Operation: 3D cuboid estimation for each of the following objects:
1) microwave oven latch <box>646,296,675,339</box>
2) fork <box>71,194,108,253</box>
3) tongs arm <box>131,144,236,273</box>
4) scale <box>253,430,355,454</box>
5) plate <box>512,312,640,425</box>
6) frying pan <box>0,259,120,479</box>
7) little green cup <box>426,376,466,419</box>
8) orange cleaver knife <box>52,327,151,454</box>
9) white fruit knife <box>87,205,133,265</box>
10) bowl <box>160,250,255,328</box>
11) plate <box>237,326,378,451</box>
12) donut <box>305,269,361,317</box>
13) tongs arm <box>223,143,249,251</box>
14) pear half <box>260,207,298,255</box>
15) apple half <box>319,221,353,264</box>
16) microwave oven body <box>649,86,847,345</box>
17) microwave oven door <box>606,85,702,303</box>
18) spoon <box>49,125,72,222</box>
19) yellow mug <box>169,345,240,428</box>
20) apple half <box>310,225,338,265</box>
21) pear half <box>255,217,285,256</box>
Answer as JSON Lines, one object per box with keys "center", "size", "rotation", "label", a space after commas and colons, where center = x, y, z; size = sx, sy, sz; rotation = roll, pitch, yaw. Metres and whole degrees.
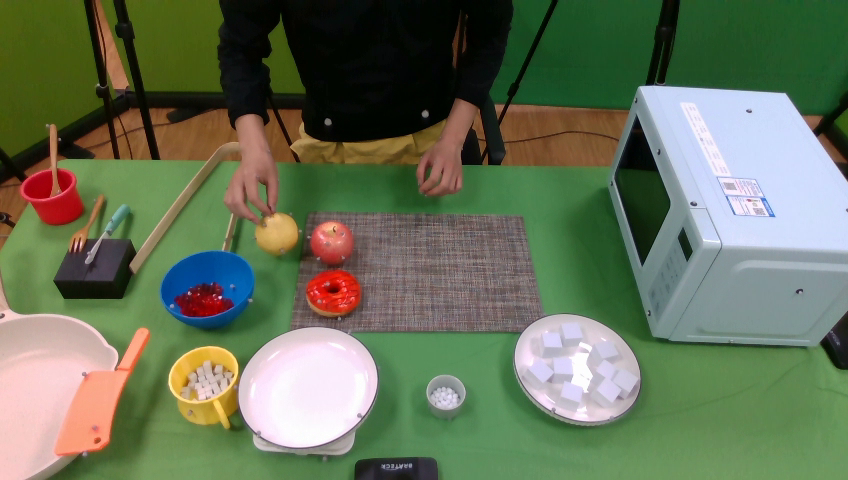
{"center": [0.412, 0.134, 1.061], "size": [0.030, 0.029, 0.078], "rotation": [4, 45, 1], "label": "microwave oven latch"}
{"center": [-0.634, -0.036, 1.158], "size": [0.028, 0.019, 0.206], "rotation": [-8, 31, -8], "label": "fork"}
{"center": [-0.482, -0.078, 1.235], "size": [0.028, 0.028, 0.385], "rotation": [6, 45, 13], "label": "tongs arm"}
{"center": [-0.175, 0.236, 0.951], "size": [0.149, 0.032, 0.199], "rotation": [4, 45, 0], "label": "scale"}
{"center": [0.246, 0.213, 0.999], "size": [0.208, 0.039, 0.206], "rotation": [2, 46, -2], "label": "plate"}
{"center": [-0.647, 0.164, 0.936], "size": [0.307, 0.103, 0.485], "rotation": [-19, 58, -22], "label": "frying pan"}
{"center": [0.033, 0.248, 0.950], "size": [0.061, 0.039, 0.061], "rotation": [2, 46, -2], "label": "little green cup"}
{"center": [-0.462, 0.212, 0.879], "size": [0.077, 0.012, 0.210], "rotation": [6, 45, -1], "label": "orange cleaver knife"}
{"center": [-0.584, -0.013, 1.129], "size": [0.016, 0.027, 0.206], "rotation": [-1, 32, -4], "label": "white fruit knife"}
{"center": [-0.362, 0.098, 1.040], "size": [0.151, 0.077, 0.150], "rotation": [2, 45, -2], "label": "bowl"}
{"center": [-0.174, 0.224, 0.917], "size": [0.209, 0.038, 0.208], "rotation": [2, 46, -2], "label": "plate"}
{"center": [-0.160, 0.094, 1.075], "size": [0.099, 0.048, 0.098], "rotation": [3, 46, -3], "label": "donut"}
{"center": [-0.397, -0.073, 1.232], "size": [0.051, 0.027, 0.382], "rotation": [-2, 45, 0], "label": "tongs arm"}
{"center": [-0.263, -0.029, 1.109], "size": [0.076, 0.110, 0.056], "rotation": [31, 57, 20], "label": "pear half"}
{"center": [-0.162, 0.001, 1.144], "size": [0.053, 0.075, 0.080], "rotation": [-25, 50, -29], "label": "apple half"}
{"center": [0.567, -0.053, 1.118], "size": [0.326, 0.261, 0.439], "rotation": [2, 45, -1], "label": "microwave oven body"}
{"center": [0.423, -0.094, 1.140], "size": [0.039, 0.245, 0.353], "rotation": [2, 46, -1], "label": "microwave oven door"}
{"center": [-0.718, -0.131, 1.189], "size": [0.041, 0.021, 0.193], "rotation": [-4, 90, -6], "label": "spoon"}
{"center": [-0.322, 0.230, 0.922], "size": [0.100, 0.064, 0.130], "rotation": [-24, 53, -25], "label": "yellow mug"}
{"center": [-0.192, 0.017, 1.125], "size": [0.033, 0.081, 0.081], "rotation": [-26, 53, -30], "label": "apple half"}
{"center": [-0.286, -0.002, 1.097], "size": [0.070, 0.088, 0.031], "rotation": [30, 55, 20], "label": "pear half"}
